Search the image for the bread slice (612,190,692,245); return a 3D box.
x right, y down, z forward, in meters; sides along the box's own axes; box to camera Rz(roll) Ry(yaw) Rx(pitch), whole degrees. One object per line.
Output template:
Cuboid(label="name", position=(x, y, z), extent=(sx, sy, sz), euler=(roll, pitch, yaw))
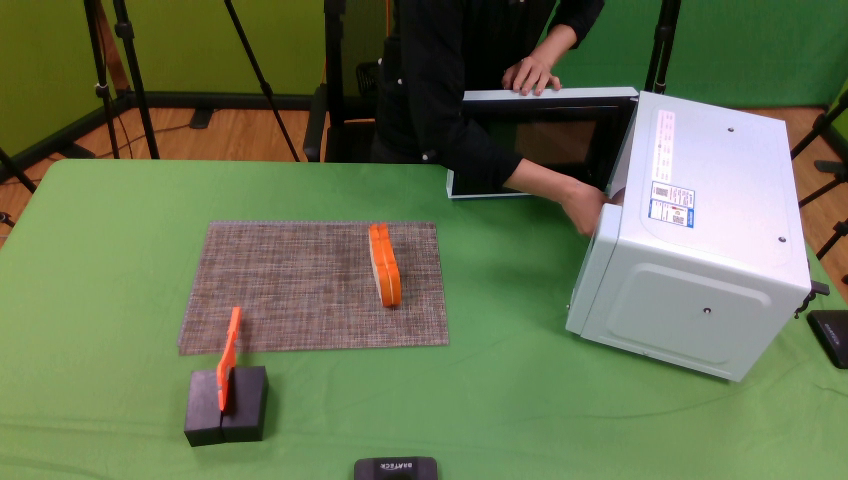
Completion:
Cuboid(label="bread slice", position=(0.438, -0.049, 1.153), extent=(0.134, 0.018, 0.106), euler=(-23, 54, -22))

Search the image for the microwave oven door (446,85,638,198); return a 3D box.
Cuboid(label="microwave oven door", position=(0.230, -0.195, 1.224), extent=(0.356, 0.245, 0.039), euler=(-3, 46, -7))

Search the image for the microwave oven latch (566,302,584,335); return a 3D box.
Cuboid(label="microwave oven latch", position=(0.268, 0.126, 1.059), extent=(0.030, 0.029, 0.079), euler=(16, 46, 12))

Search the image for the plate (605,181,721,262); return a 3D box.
Cuboid(label="plate", position=(0.442, -0.031, 1.138), extent=(0.208, 0.039, 0.206), euler=(1, 45, 0))

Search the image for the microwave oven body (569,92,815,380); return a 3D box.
Cuboid(label="microwave oven body", position=(0.468, -0.022, 1.082), extent=(0.325, 0.261, 0.440), euler=(15, 46, 11))

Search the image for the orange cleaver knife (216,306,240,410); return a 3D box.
Cuboid(label="orange cleaver knife", position=(-0.307, 0.180, 0.957), extent=(0.012, 0.077, 0.210), euler=(-2, 25, -8))
